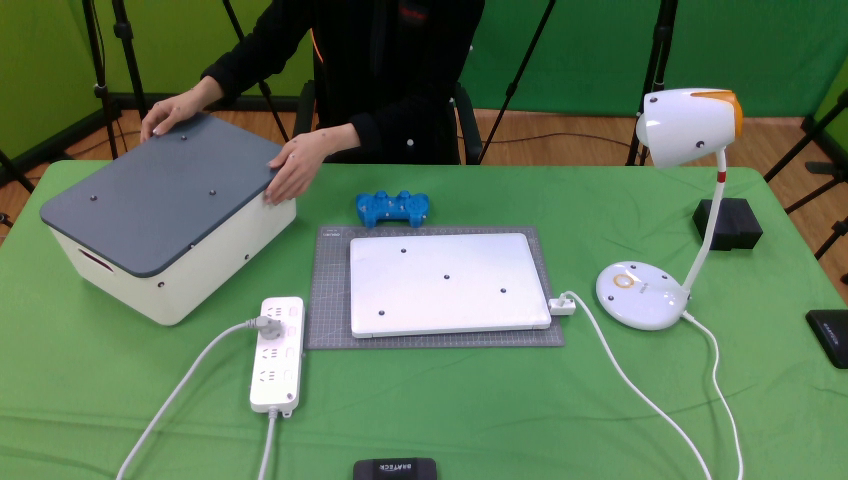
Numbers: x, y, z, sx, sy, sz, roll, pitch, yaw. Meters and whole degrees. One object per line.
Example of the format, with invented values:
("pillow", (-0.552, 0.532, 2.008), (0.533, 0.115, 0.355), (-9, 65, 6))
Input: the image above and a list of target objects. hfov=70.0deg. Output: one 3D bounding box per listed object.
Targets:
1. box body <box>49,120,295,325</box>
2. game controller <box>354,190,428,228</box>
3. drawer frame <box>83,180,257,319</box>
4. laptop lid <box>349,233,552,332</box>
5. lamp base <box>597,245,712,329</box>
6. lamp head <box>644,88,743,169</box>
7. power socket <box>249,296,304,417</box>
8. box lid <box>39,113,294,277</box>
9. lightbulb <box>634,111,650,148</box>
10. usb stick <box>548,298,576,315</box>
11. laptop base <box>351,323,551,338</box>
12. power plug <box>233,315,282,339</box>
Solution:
("box body", (-0.437, -0.046, 1.110), (0.253, 0.161, 0.363), (24, 49, 19))
("game controller", (-0.066, -0.072, 1.244), (0.155, 0.052, 0.096), (0, 48, -4))
("drawer frame", (-0.454, 0.010, 1.099), (0.201, 0.083, 0.213), (27, 54, 23))
("laptop lid", (0.040, 0.071, 1.118), (0.357, 0.013, 0.240), (-1, 44, -5))
("lamp base", (0.418, 0.051, 1.071), (0.179, 0.181, 0.160), (22, 49, 13))
("lamp head", (0.380, -0.160, 0.851), (0.122, 0.113, 0.112), (-4, 42, 25))
("power socket", (-0.239, 0.182, 0.996), (0.072, 0.033, 0.225), (-2, 47, -5))
("box lid", (-0.434, -0.096, 1.056), (0.262, 0.015, 0.370), (25, 48, 18))
("lightbulb", (0.348, -0.163, 0.852), (0.059, 0.060, 0.107), (-36, 19, -32))
("usb stick", (0.240, 0.120, 1.085), (0.059, 0.027, 0.021), (-2, 51, -2))
("laptop base", (0.040, 0.081, 1.125), (0.355, 0.023, 0.234), (-2, 43, -6))
("power plug", (-0.271, 0.144, 0.999), (0.072, 0.053, 0.035), (6, 47, 3))
